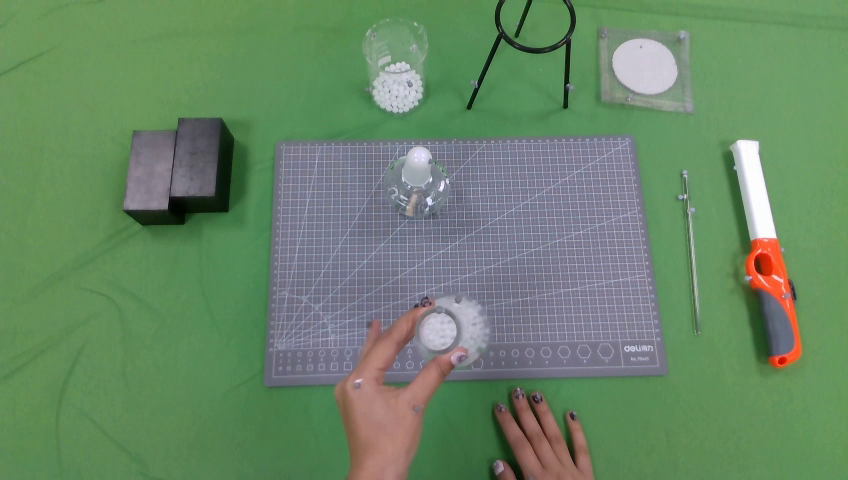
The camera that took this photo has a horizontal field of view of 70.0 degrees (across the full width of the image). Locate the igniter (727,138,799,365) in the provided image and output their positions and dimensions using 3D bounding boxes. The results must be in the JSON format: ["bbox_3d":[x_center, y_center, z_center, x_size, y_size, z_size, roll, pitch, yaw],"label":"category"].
[{"bbox_3d":[0.399,0.008,0.717,0.057,0.025,0.275,2,73,-12],"label":"igniter"}]

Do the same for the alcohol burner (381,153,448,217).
[{"bbox_3d":[-0.010,-0.071,0.684,0.078,0.119,0.077,1,72,-3],"label":"alcohol burner"}]

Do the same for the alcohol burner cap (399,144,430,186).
[{"bbox_3d":[-0.009,-0.084,0.650,0.034,0.048,0.033,4,66,-8],"label":"alcohol burner cap"}]

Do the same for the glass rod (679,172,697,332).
[{"bbox_3d":[0.315,0.011,0.724,0.008,0.008,0.198,3,73,0],"label":"glass rod"}]

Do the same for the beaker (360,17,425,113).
[{"bbox_3d":[-0.034,-0.209,0.736,0.084,0.101,0.073,-41,78,-13],"label":"beaker"}]

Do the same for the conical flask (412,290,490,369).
[{"bbox_3d":[0.018,0.078,0.527,0.075,0.122,0.075,-1,82,8],"label":"conical flask"}]

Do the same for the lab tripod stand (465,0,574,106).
[{"bbox_3d":[0.117,-0.225,0.727,0.148,0.132,0.147,0,75,-1],"label":"lab tripod stand"}]

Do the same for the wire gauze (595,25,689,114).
[{"bbox_3d":[0.288,-0.228,0.798,0.125,0.011,0.121,6,74,-1],"label":"wire gauze"}]
